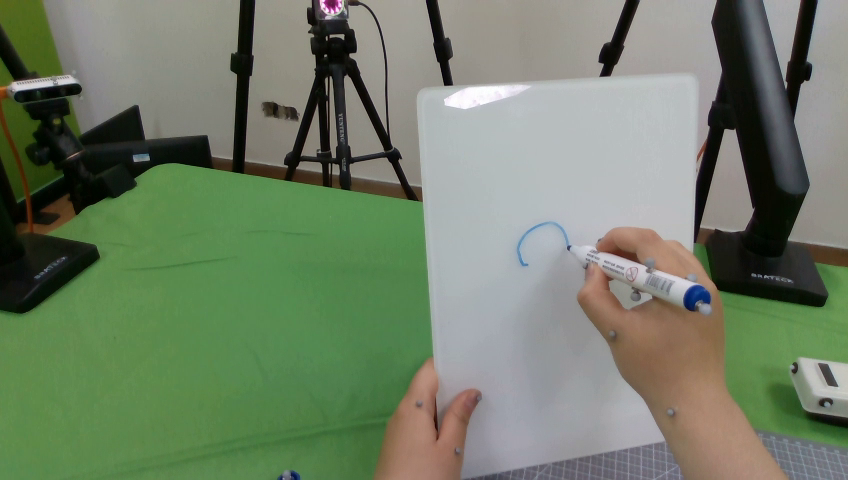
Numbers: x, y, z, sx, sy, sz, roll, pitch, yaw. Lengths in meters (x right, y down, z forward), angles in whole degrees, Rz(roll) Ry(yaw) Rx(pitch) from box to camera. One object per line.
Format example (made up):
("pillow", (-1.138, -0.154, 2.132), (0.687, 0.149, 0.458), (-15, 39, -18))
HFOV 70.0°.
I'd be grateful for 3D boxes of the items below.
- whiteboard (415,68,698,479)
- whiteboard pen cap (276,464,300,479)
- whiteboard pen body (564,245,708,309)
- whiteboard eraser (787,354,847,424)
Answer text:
("whiteboard", (0.096, 0.018, 0.526), (0.218, 0.306, 0.143), (-6, 13, -10))
("whiteboard pen cap", (-0.101, 0.185, 0.453), (0.018, 0.033, 0.018), (2, 33, -1))
("whiteboard pen body", (0.128, 0.019, 0.391), (0.017, 0.017, 0.140), (-9, 14, -16))
("whiteboard eraser", (0.391, 0.138, 0.539), (0.112, 0.042, 0.055), (8, 36, 10))
